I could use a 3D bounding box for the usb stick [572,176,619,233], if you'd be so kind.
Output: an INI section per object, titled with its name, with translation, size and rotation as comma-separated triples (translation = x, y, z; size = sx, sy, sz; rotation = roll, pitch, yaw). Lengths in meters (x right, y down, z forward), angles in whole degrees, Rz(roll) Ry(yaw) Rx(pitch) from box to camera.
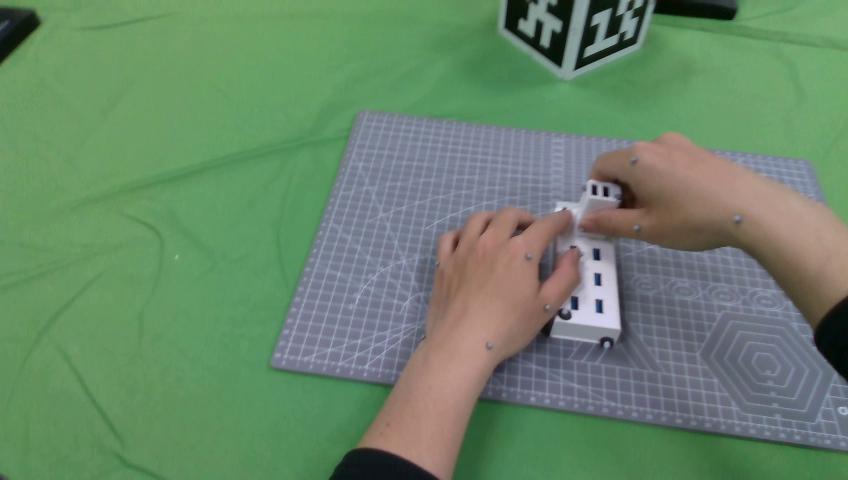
[usb stick]
translation = 0.134, -0.025, 0.484
size = 0.027, 0.059, 0.021
rotation = 3, 59, 2

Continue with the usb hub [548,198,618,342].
[usb hub]
translation = 0.126, 0.020, 0.486
size = 0.049, 0.025, 0.124
rotation = 7, 51, 5
